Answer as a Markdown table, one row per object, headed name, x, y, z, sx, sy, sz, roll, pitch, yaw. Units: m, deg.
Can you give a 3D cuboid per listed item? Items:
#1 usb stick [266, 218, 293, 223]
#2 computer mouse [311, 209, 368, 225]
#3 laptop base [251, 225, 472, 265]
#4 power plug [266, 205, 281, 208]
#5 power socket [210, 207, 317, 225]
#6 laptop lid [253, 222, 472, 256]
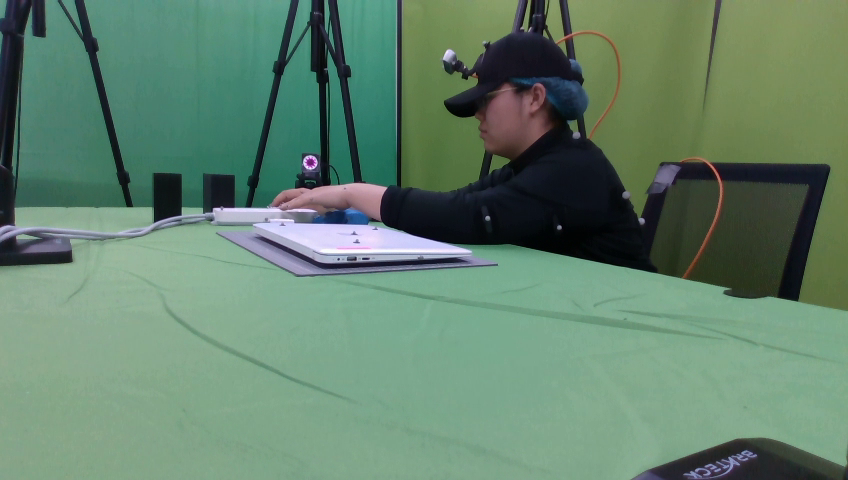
| name | x | y | z | sx | sy | sz | roll | pitch | yaw |
| --- | --- | --- | --- | --- | --- | --- | --- | --- | --- |
| usb stick | -0.272 | -0.026 | 1.107 | 0.059 | 0.027 | 0.021 | -4 | 11 | -27 |
| computer mouse | -0.178 | -0.044 | 1.274 | 0.118 | 0.041 | 0.062 | -5 | 12 | -26 |
| laptop base | -0.116 | 0.007 | 0.955 | 0.237 | 0.023 | 0.352 | 2 | 6 | -31 |
| power plug | -0.343 | -0.056 | 1.365 | 0.053 | 0.035 | 0.072 | -21 | -13 | -12 |
| power socket | -0.335 | -0.051 | 1.282 | 0.228 | 0.032 | 0.072 | -1 | 9 | -28 |
| laptop lid | -0.113 | -0.005 | 0.955 | 0.243 | 0.013 | 0.355 | 1 | 7 | -29 |
